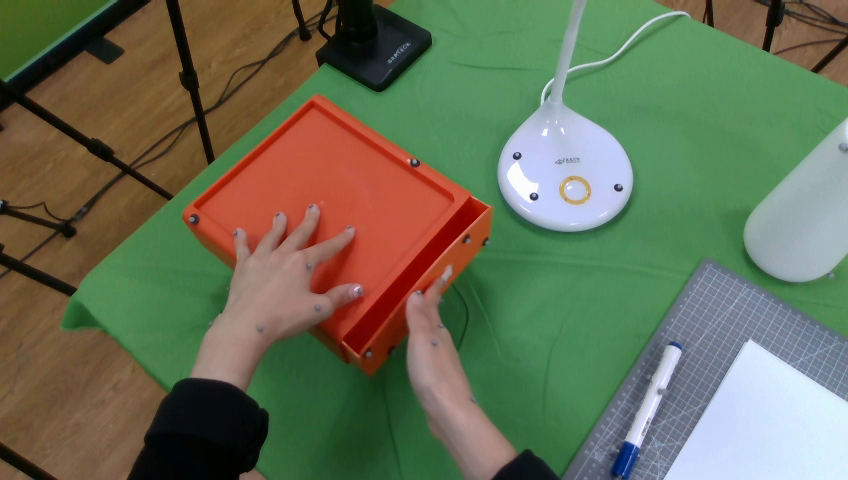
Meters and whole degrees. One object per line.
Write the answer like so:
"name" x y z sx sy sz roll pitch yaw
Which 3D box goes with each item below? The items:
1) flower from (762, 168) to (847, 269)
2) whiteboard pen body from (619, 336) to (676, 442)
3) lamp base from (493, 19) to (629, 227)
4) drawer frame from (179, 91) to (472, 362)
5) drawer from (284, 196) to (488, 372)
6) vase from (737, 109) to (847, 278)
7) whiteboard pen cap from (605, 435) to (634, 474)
"flower" 0.401 -0.091 0.527 0.038 0.364 0.044 22 46 6
"whiteboard pen body" 0.215 0.155 0.591 0.017 0.017 0.140 27 68 17
"lamp base" 0.156 -0.133 0.664 0.161 0.182 0.177 -17 59 -7
"drawer frame" -0.095 -0.020 0.623 0.212 0.083 0.201 35 69 16
"drawer" -0.075 -0.007 0.614 0.210 0.074 0.194 34 69 20
"vase" 0.388 -0.042 0.595 0.098 0.202 0.097 -2 60 3
"whiteboard pen cap" 0.185 0.202 0.571 0.018 0.018 0.033 27 67 17
